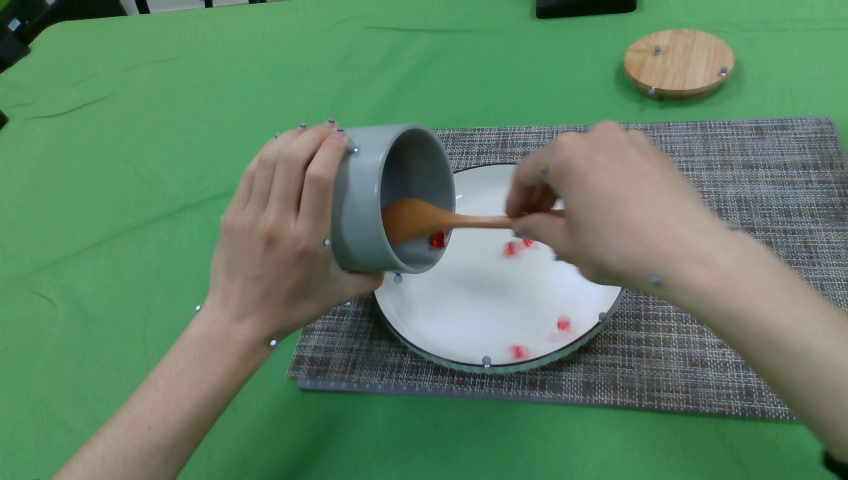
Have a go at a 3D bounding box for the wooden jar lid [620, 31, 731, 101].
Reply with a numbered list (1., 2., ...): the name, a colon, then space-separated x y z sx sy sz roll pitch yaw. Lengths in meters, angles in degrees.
1. wooden jar lid: 0.263 -0.182 0.638 0.108 0.021 0.107 -6 51 8

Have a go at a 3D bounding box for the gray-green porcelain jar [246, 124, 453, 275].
1. gray-green porcelain jar: -0.058 -0.029 0.450 0.126 0.107 0.105 3 51 30

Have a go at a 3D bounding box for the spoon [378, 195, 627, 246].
1. spoon: 0.038 -0.015 0.408 0.193 0.022 0.041 -1 62 28

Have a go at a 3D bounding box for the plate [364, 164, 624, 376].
1. plate: 0.055 0.022 0.499 0.207 0.039 0.205 -6 50 8
